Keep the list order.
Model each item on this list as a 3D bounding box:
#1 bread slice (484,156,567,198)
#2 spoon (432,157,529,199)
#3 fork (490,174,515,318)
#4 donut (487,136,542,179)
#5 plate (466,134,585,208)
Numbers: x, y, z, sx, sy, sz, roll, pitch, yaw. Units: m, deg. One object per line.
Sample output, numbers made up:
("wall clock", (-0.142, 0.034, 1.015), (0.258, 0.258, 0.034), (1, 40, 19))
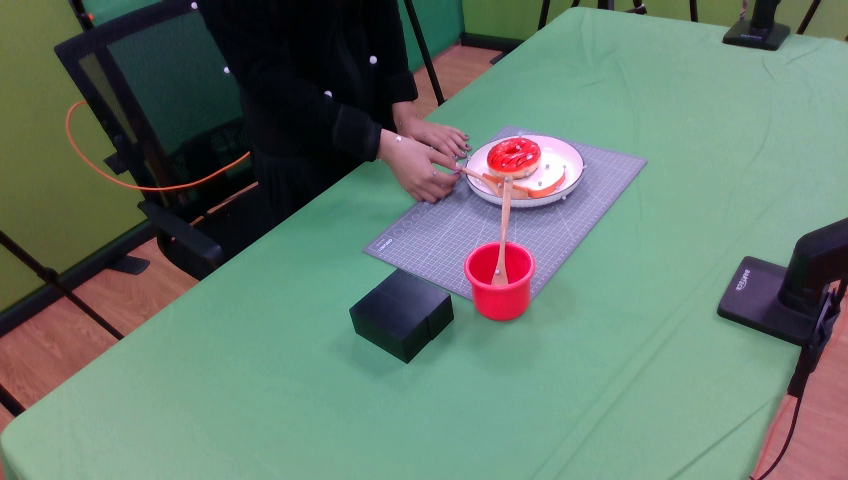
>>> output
("bread slice", (0.187, -0.120, 1.077), (0.130, 0.019, 0.105), (27, 53, 37))
("spoon", (0.095, -0.108, 1.055), (0.192, 0.022, 0.042), (30, 49, 21))
("fork", (0.113, 0.006, 0.853), (0.028, 0.019, 0.207), (4, 84, 16))
("donut", (0.159, -0.147, 1.068), (0.099, 0.048, 0.098), (-9, 39, 8))
("plate", (0.178, -0.120, 1.075), (0.209, 0.038, 0.208), (-5, 40, 5))
